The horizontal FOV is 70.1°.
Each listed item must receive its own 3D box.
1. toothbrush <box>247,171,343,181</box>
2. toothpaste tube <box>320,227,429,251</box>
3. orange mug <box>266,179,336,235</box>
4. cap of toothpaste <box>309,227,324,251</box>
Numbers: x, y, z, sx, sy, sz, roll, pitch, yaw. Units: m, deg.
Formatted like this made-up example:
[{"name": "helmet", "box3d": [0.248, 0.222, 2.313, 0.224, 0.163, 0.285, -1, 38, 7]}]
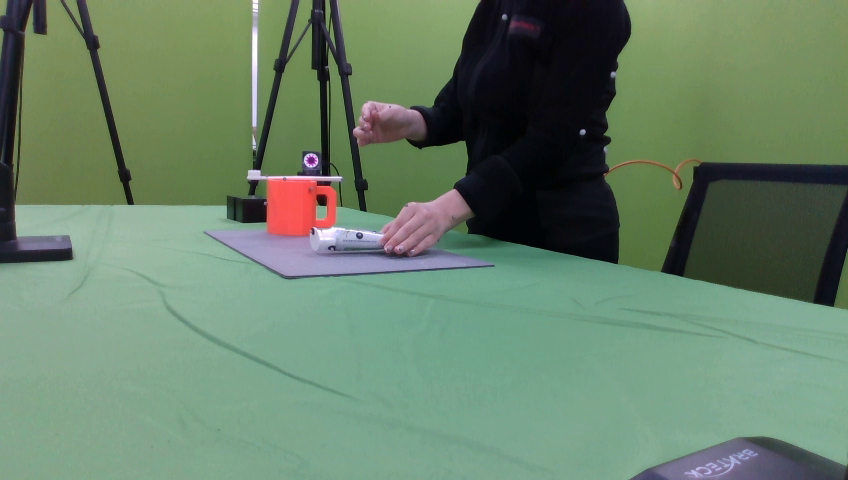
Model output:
[{"name": "toothbrush", "box3d": [-0.230, -0.115, 1.092, 0.183, 0.016, 0.014, -2, 5, -35]}, {"name": "toothpaste tube", "box3d": [-0.077, 0.000, 0.892, 0.166, 0.034, 0.055, 1, 12, -25]}, {"name": "orange mug", "box3d": [-0.222, -0.062, 1.094, 0.127, 0.101, 0.083, -5, 9, -22]}, {"name": "cap of toothpaste", "box3d": [-0.153, -0.002, 0.859, 0.011, 0.037, 0.037, -9, 13, -36]}]
